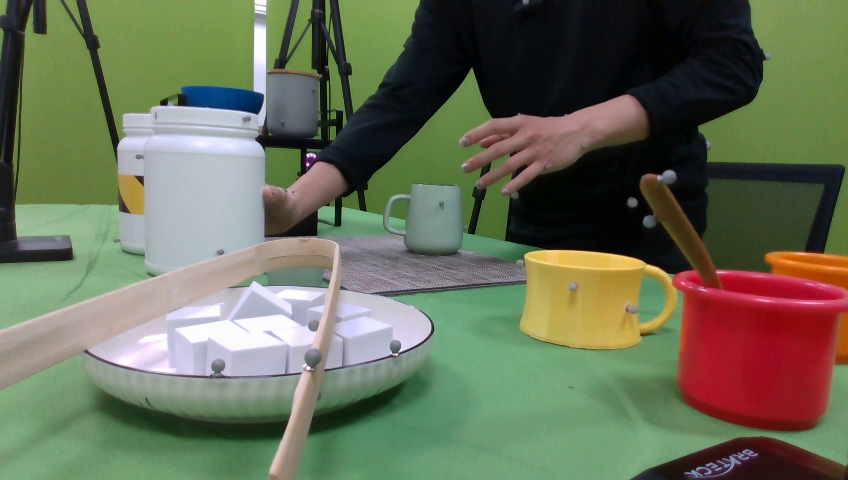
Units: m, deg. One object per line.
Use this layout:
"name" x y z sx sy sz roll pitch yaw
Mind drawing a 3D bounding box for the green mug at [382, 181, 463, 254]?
"green mug" -0.001 -0.036 0.922 0.126 0.105 0.092 0 8 -16

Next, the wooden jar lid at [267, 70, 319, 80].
"wooden jar lid" -0.275 -0.339 1.271 0.108 0.020 0.108 5 6 0

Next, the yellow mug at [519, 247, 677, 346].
"yellow mug" 0.148 0.045 0.513 0.131 0.064 0.100 3 7 0

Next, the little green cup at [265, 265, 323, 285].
"little green cup" -0.134 0.034 0.627 0.061 0.038 0.061 3 6 0

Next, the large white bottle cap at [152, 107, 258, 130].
"large white bottle cap" -0.248 -0.138 0.692 0.115 0.018 0.115 3 7 0

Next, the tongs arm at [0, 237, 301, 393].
"tongs arm" -0.158 0.039 0.347 0.028 0.028 0.388 -3 8 11

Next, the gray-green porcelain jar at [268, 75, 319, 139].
"gray-green porcelain jar" -0.277 -0.279 1.280 0.106 0.126 0.106 2 8 0

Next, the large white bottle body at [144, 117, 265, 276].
"large white bottle body" -0.253 -0.054 0.702 0.131 0.184 0.130 3 8 0

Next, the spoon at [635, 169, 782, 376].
"spoon" 0.161 0.026 0.346 0.041 0.194 0.021 10 56 53

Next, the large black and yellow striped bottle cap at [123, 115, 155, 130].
"large black and yellow striped bottle cap" -0.353 -0.159 0.838 0.115 0.019 0.115 2 6 0

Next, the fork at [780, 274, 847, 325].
"fork" 0.332 0.018 0.443 0.028 0.018 0.207 -3 -35 -16

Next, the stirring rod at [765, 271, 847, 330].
"stirring rod" 0.352 0.020 0.481 0.176 0.006 0.014 -40 -7 17

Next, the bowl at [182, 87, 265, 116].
"bowl" -0.383 -0.244 1.158 0.151 0.077 0.151 2 7 0

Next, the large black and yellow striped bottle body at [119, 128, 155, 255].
"large black and yellow striped bottle body" -0.355 -0.076 0.850 0.131 0.184 0.130 2 8 0

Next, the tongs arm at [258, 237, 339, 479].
"tongs arm" -0.074 0.040 0.345 0.051 0.026 0.384 -2 9 -3

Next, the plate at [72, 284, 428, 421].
"plate" -0.102 0.066 0.381 0.208 0.039 0.207 3 7 0
